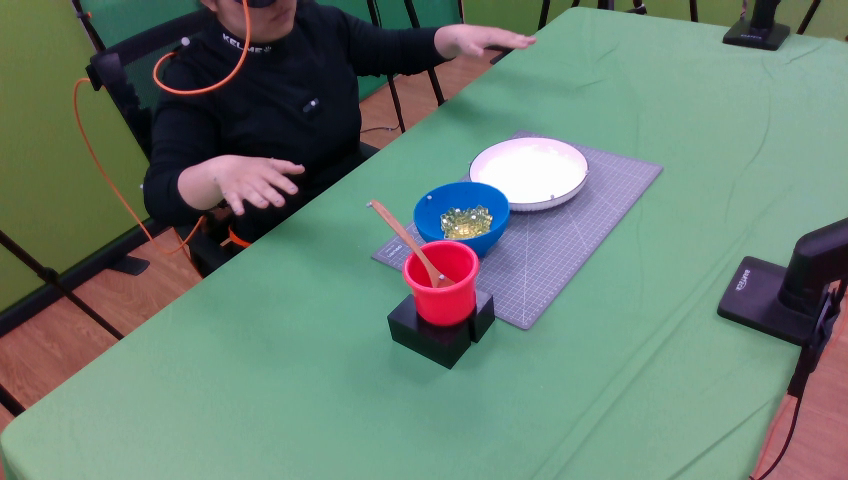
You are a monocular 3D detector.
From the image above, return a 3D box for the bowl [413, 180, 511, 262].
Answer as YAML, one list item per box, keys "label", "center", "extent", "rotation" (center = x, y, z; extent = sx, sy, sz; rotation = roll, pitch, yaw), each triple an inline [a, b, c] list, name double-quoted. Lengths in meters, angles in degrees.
- label: "bowl"
  center: [0.062, -0.019, 0.945]
  extent: [0.151, 0.077, 0.150]
  rotation: [-5, 40, 5]

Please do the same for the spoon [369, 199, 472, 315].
- label: "spoon"
  center: [-0.006, 0.020, 0.787]
  extent: [0.042, 0.021, 0.194]
  rotation: [-39, 92, -27]

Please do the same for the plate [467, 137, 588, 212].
- label: "plate"
  center: [0.181, -0.112, 1.064]
  extent: [0.207, 0.039, 0.206]
  rotation: [-5, 40, 5]
